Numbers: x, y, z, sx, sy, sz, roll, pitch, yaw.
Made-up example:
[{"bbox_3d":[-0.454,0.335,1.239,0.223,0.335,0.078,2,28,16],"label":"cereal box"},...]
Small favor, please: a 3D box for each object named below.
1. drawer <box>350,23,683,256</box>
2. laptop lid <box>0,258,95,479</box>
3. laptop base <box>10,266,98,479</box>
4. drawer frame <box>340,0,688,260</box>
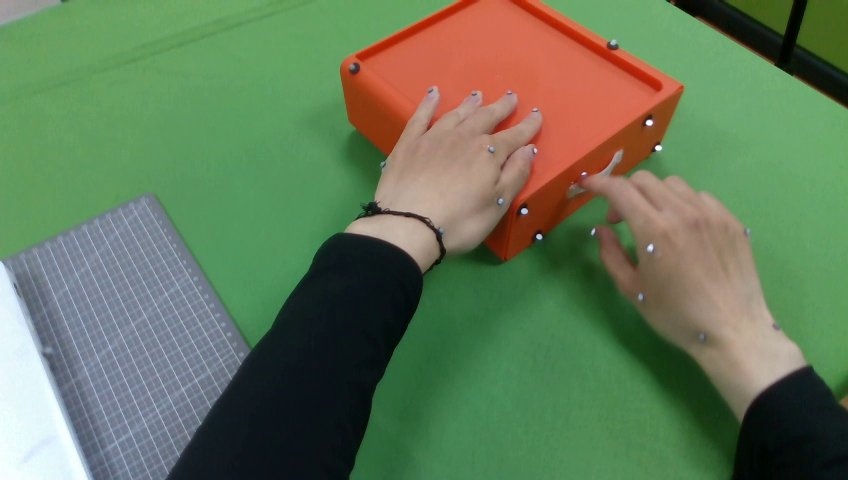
[{"bbox_3d":[0.074,-0.115,0.527,0.194,0.074,0.210,-35,60,-22],"label":"drawer"},{"bbox_3d":[-0.395,0.170,0.348,0.357,0.013,0.239,-29,61,-19],"label":"laptop lid"},{"bbox_3d":[-0.396,0.175,0.359,0.354,0.023,0.233,-31,63,-20],"label":"laptop base"},{"bbox_3d":[0.072,-0.116,0.527,0.201,0.083,0.211,-36,61,-22],"label":"drawer frame"}]
